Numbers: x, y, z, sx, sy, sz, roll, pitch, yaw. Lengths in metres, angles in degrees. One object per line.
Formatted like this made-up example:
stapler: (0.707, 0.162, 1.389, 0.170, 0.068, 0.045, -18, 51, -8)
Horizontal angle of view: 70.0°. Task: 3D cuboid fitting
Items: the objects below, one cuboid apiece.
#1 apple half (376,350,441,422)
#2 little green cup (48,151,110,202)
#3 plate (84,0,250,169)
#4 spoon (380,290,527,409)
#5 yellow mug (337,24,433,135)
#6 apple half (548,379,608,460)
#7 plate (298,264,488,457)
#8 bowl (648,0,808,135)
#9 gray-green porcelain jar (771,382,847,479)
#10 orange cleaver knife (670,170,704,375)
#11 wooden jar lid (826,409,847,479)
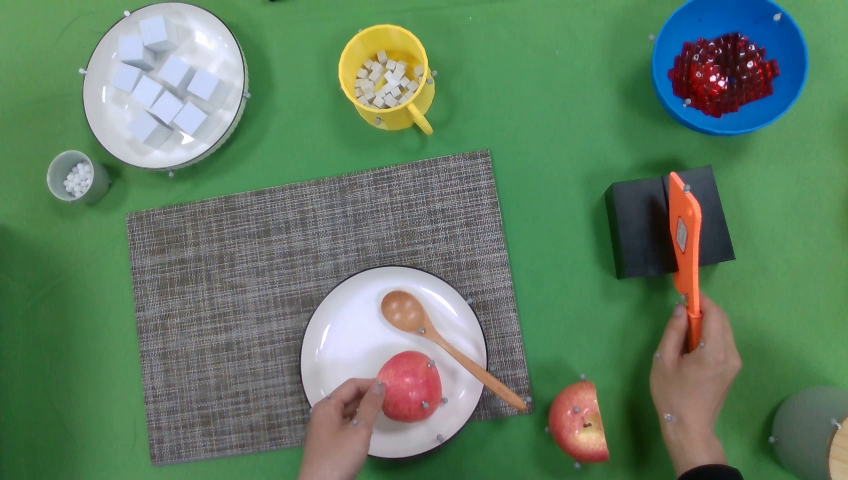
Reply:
apple half: (-0.010, 0.156, 0.640, 0.082, 0.032, 0.081, 10, 72, -34)
little green cup: (-0.418, -0.074, 0.739, 0.061, 0.039, 0.061, 0, 85, 5)
plate: (-0.307, -0.185, 0.737, 0.207, 0.039, 0.207, -1, 85, 7)
spoon: (0.029, 0.118, 0.649, 0.192, 0.022, 0.041, 36, 78, 21)
yellow mug: (-0.033, -0.171, 0.687, 0.100, 0.064, 0.130, -38, 82, 2)
apple half: (0.155, 0.186, 0.627, 0.053, 0.075, 0.080, -12, 87, 9)
plate: (-0.034, 0.130, 0.669, 0.209, 0.038, 0.208, -1, 85, 7)
bowl: (0.307, -0.176, 0.639, 0.151, 0.077, 0.151, -1, 85, 7)
gray-green porcelain jar: (0.400, 0.191, 0.569, 0.106, 0.127, 0.105, -1, 84, 7)
orange cleaver knife: (0.262, 0.036, 0.609, 0.012, 0.076, 0.213, -10, 113, 7)
wooden jar lid: (0.391, 0.183, 0.507, 0.108, 0.021, 0.108, 0, 87, 7)
